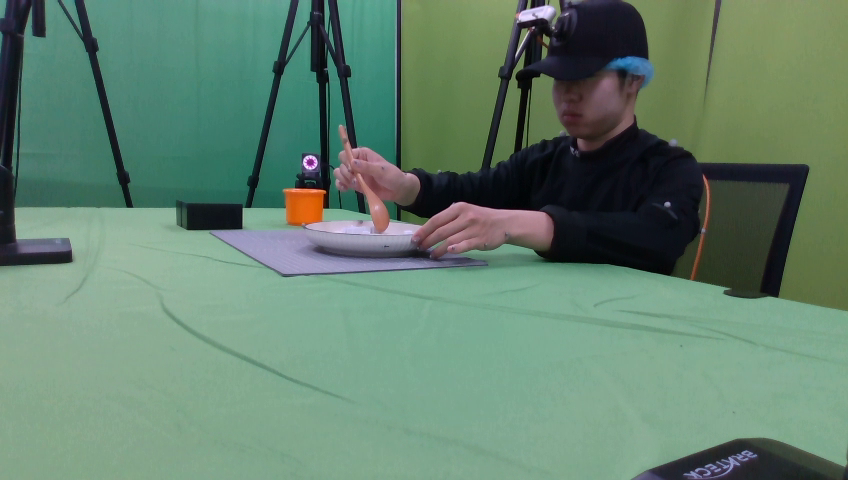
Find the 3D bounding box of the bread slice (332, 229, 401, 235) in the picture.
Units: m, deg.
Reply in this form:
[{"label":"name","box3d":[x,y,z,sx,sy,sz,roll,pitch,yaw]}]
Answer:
[{"label":"bread slice","box3d":[-0.088,-0.001,0.946,0.105,0.019,0.131,-5,11,-44]}]

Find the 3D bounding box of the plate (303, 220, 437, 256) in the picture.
[{"label":"plate","box3d":[-0.084,-0.003,0.951,0.209,0.038,0.209,3,7,0]}]

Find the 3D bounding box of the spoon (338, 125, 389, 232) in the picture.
[{"label":"spoon","box3d":[-0.102,-0.102,0.972,0.021,0.193,0.042,-37,-17,36]}]
